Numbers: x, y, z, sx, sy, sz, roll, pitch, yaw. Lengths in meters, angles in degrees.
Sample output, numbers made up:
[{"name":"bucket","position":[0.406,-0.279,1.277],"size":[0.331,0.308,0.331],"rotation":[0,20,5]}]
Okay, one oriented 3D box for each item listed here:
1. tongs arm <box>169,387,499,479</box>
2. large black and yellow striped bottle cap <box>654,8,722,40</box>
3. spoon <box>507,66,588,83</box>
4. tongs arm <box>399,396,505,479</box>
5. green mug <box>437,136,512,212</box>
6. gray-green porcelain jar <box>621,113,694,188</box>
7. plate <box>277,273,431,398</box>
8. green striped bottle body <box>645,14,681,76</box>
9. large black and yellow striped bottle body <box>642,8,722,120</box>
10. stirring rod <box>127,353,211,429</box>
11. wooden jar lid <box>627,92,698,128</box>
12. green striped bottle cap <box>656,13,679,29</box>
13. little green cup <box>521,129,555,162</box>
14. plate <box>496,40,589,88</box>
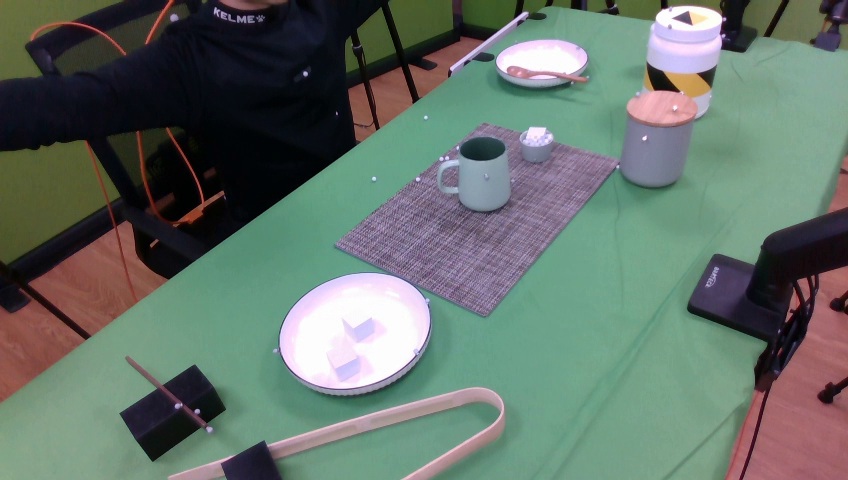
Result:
[{"name":"tongs arm","position":[-0.099,0.230,0.711],"size":[0.388,0.028,0.028],"rotation":[-13,32,-7]},{"name":"large black and yellow striped bottle cap","position":[0.483,-0.397,1.108],"size":[0.115,0.019,0.114],"rotation":[-3,41,3]},{"name":"spoon","position":[0.265,-0.358,1.311],"size":[0.192,0.022,0.042],"rotation":[18,48,38]},{"name":"tongs arm","position":[-0.071,0.272,0.651],"size":[0.386,0.026,0.050],"rotation":[-21,37,-17]},{"name":"green mug","position":[0.084,-0.107,1.013],"size":[0.125,0.105,0.092],"rotation":[-9,40,-3]},{"name":"gray-green porcelain jar","position":[0.390,-0.161,1.020],"size":[0.106,0.127,0.105],"rotation":[-4,41,4]},{"name":"plate","position":[-0.091,0.129,0.821],"size":[0.207,0.039,0.206],"rotation":[-4,40,4]},{"name":"green striped bottle body","position":[0.520,-0.424,1.312],"size":[0.063,0.120,0.063],"rotation":[-4,40,4]},{"name":"large black and yellow striped bottle body","position":[0.493,-0.334,1.161],"size":[0.131,0.185,0.130],"rotation":[-4,41,4]},{"name":"stirring rod","position":[-0.311,0.180,0.731],"size":[0.175,0.014,0.006],"rotation":[25,53,31]},{"name":"wooden jar lid","position":[0.384,-0.207,0.980],"size":[0.108,0.021,0.108],"rotation":[-6,39,5]},{"name":"green striped bottle cap","position":[0.515,-0.463,1.278],"size":[0.044,0.020,0.044],"rotation":[-6,42,6]},{"name":"little green cup","position":[0.211,-0.175,1.124],"size":[0.061,0.039,0.061],"rotation":[-4,42,4]},{"name":"plate","position":[0.268,-0.398,1.381],"size":[0.209,0.038,0.208],"rotation":[-4,41,4]}]
